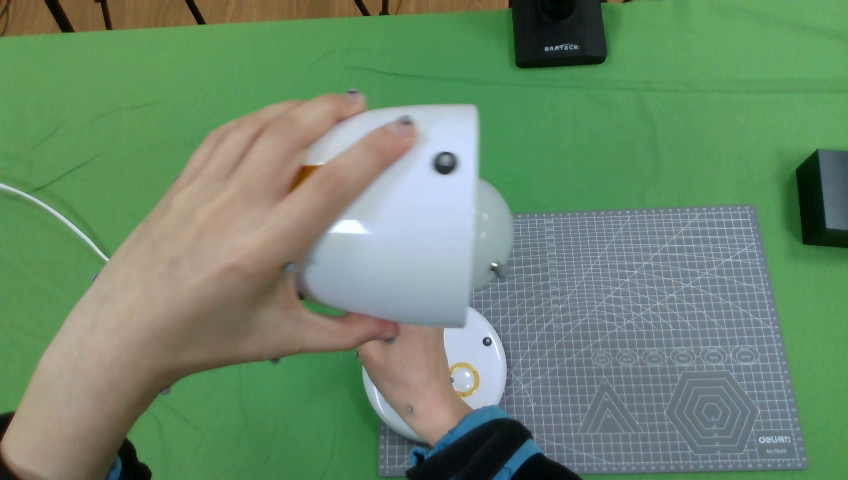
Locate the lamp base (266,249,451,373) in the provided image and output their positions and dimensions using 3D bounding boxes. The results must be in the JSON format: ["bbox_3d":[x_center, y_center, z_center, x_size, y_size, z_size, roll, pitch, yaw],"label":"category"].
[{"bbox_3d":[-0.069,0.044,0.578,0.179,0.181,0.160,4,78,7],"label":"lamp base"}]

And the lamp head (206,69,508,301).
[{"bbox_3d":[-0.041,-0.031,0.295,0.124,0.112,0.112,10,76,-32],"label":"lamp head"}]

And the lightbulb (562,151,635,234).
[{"bbox_3d":[0.183,-0.055,0.653,0.059,0.060,0.106,-27,63,-2],"label":"lightbulb"}]
